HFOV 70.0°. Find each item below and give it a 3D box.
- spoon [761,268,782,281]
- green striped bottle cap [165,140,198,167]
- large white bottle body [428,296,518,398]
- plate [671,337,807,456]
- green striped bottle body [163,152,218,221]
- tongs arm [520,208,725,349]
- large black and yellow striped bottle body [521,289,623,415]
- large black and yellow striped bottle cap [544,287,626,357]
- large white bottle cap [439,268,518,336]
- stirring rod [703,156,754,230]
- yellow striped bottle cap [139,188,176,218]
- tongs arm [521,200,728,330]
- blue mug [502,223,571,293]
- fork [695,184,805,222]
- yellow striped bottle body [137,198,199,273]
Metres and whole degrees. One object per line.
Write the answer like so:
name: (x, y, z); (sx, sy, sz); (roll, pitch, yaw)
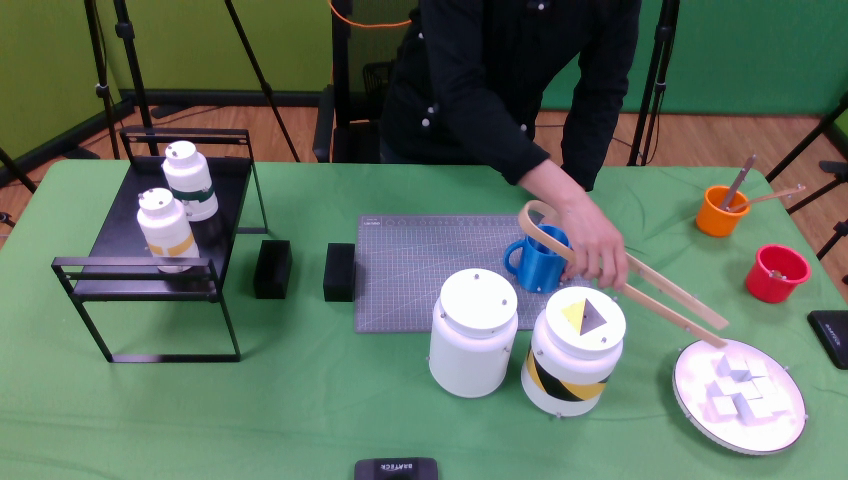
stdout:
spoon: (0.638, 0.060, 1.105); (0.041, 0.021, 0.194); (38, 11, 24)
green striped bottle cap: (-0.361, -0.128, 0.902); (0.044, 0.020, 0.044); (3, 47, -3)
large white bottle body: (0.075, 0.147, 0.950); (0.131, 0.185, 0.130); (2, 46, -2)
plate: (0.504, 0.253, 0.984); (0.208, 0.039, 0.206); (2, 46, -2)
green striped bottle body: (-0.363, -0.092, 0.939); (0.063, 0.120, 0.063); (2, 46, -2)
tongs arm: (0.315, 0.067, 0.965); (0.388, 0.028, 0.028); (32, 60, -3)
large black and yellow striped bottle body: (0.228, 0.173, 0.938); (0.131, 0.185, 0.130); (2, 47, -2)
large black and yellow striped bottle cap: (0.232, 0.116, 0.876); (0.115, 0.019, 0.114); (2, 46, -1)
large white bottle cap: (0.080, 0.089, 0.888); (0.115, 0.018, 0.114); (2, 47, -2)
stirring rod: (0.631, -0.098, 1.258); (0.014, 0.006, 0.176); (33, 95, 29)
yellow striped bottle cap: (-0.363, -0.051, 0.826); (0.044, 0.019, 0.044); (1, 47, -1)
tongs arm: (0.326, 0.047, 0.981); (0.385, 0.026, 0.050); (35, 56, -2)
blue mug: (0.202, 0.033, 1.120); (0.116, 0.106, 0.082); (3, 47, 0)
fork: (0.657, -0.075, 1.230); (0.207, 0.019, 0.028); (-23, 34, 37)
yellow striped bottle body: (-0.366, -0.014, 0.864); (0.063, 0.121, 0.062); (2, 46, -2)
